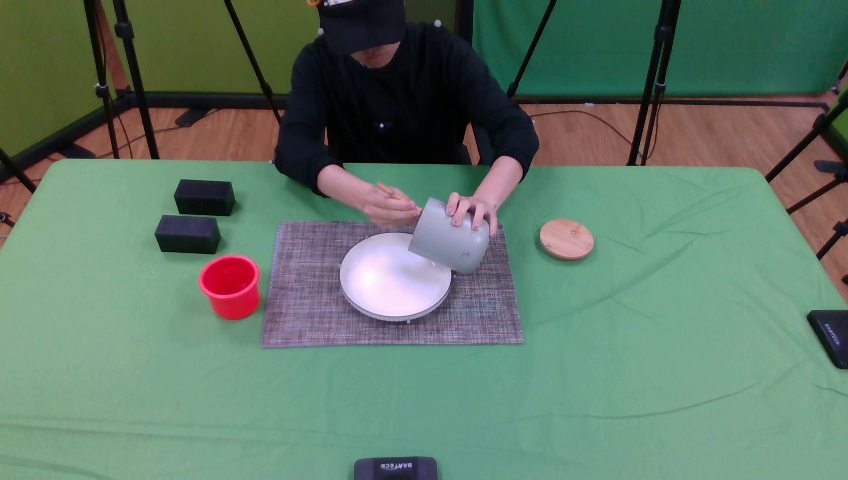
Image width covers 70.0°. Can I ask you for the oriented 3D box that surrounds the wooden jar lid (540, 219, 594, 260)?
[{"bbox_3d":[0.286,0.001,1.218,0.108,0.021,0.107,1,46,-1],"label":"wooden jar lid"}]

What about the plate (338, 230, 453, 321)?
[{"bbox_3d":[-0.051,0.068,1.111,0.208,0.039,0.206,2,46,-2],"label":"plate"}]

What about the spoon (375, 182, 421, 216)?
[{"bbox_3d":[-0.001,-0.045,1.034,0.194,0.022,0.041,27,29,-9],"label":"spoon"}]

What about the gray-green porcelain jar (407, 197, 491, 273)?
[{"bbox_3d":[0.047,-0.006,1.068,0.126,0.106,0.105,22,47,1],"label":"gray-green porcelain jar"}]
